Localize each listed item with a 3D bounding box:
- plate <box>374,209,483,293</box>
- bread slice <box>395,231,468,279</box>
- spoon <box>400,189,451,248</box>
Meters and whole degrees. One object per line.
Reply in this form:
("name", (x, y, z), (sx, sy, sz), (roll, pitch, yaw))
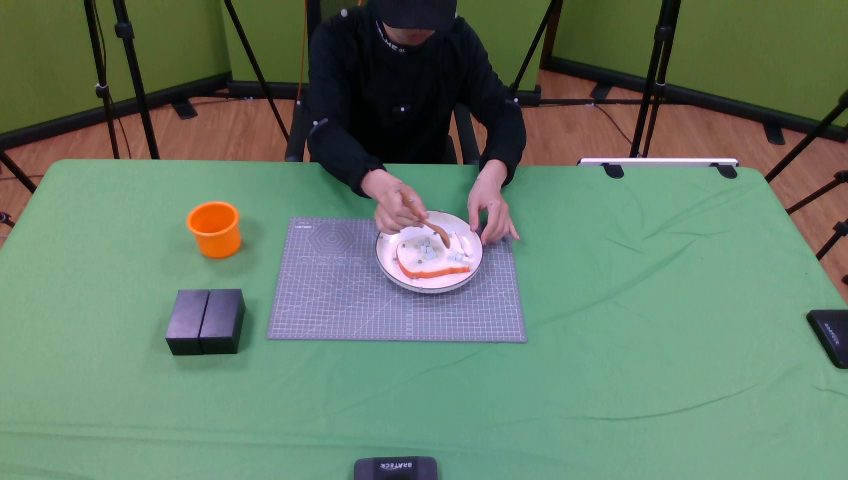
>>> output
("plate", (0.009, 0.024, 1.160), (0.209, 0.038, 0.208), (2, 46, -2))
("bread slice", (0.011, 0.030, 1.158), (0.132, 0.019, 0.104), (-8, 47, -14))
("spoon", (0.004, -0.036, 1.081), (0.021, 0.195, 0.041), (-39, 51, 8))
